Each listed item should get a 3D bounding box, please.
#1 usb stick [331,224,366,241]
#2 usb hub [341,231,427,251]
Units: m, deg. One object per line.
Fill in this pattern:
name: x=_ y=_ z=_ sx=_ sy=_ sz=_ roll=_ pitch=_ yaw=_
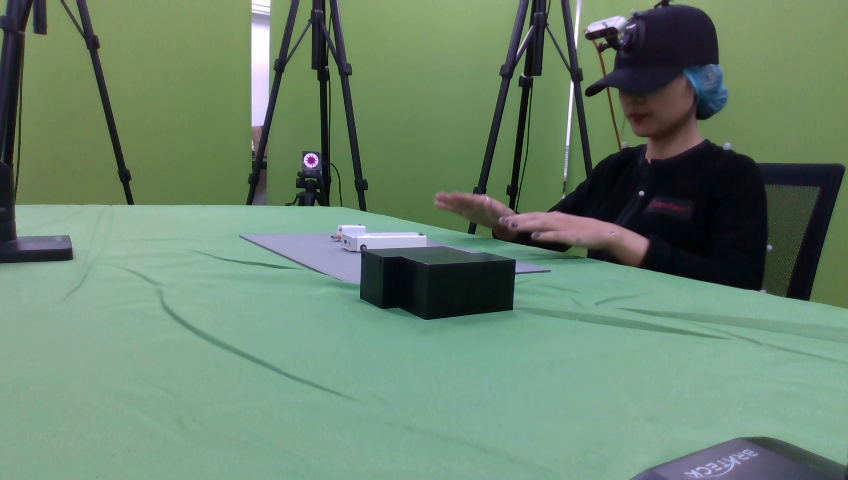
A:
usb stick: x=-0.128 y=-0.013 z=1.018 sx=0.059 sy=0.027 sz=0.021 roll=-5 pitch=11 yaw=-31
usb hub: x=-0.061 y=0.001 z=0.935 sx=0.126 sy=0.025 sz=0.049 roll=-2 pitch=9 yaw=-26
